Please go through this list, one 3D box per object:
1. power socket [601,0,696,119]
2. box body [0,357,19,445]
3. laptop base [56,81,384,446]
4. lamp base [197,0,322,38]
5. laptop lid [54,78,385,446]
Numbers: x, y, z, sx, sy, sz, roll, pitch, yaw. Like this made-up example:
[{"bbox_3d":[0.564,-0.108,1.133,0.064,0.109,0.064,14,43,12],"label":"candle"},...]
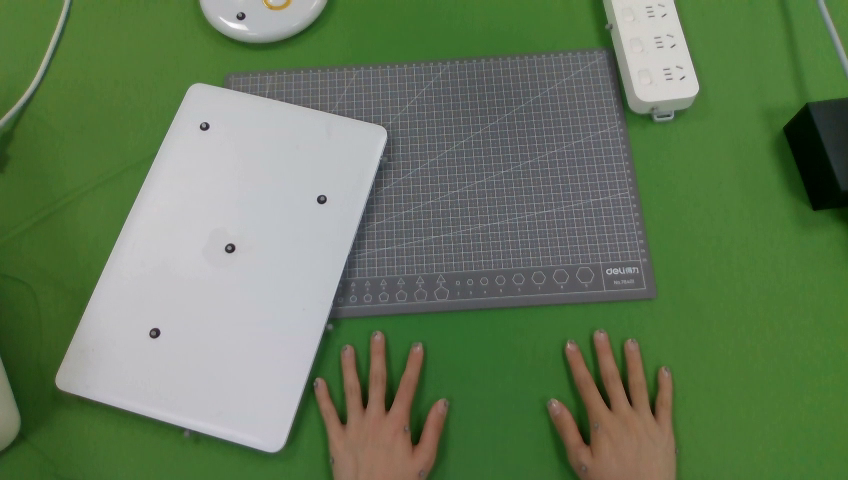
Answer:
[{"bbox_3d":[0.249,-0.246,0.692,0.072,0.033,0.225,-6,71,-1],"label":"power socket"},{"bbox_3d":[-0.570,0.079,0.541,0.254,0.161,0.361,-31,73,-9],"label":"box body"},{"bbox_3d":[-0.199,0.008,0.631,0.235,0.023,0.352,15,73,4],"label":"laptop base"},{"bbox_3d":[-0.209,-0.347,0.665,0.160,0.181,0.178,-42,71,-12],"label":"lamp base"},{"bbox_3d":[-0.198,0.004,0.619,0.241,0.013,0.355,16,73,5],"label":"laptop lid"}]
